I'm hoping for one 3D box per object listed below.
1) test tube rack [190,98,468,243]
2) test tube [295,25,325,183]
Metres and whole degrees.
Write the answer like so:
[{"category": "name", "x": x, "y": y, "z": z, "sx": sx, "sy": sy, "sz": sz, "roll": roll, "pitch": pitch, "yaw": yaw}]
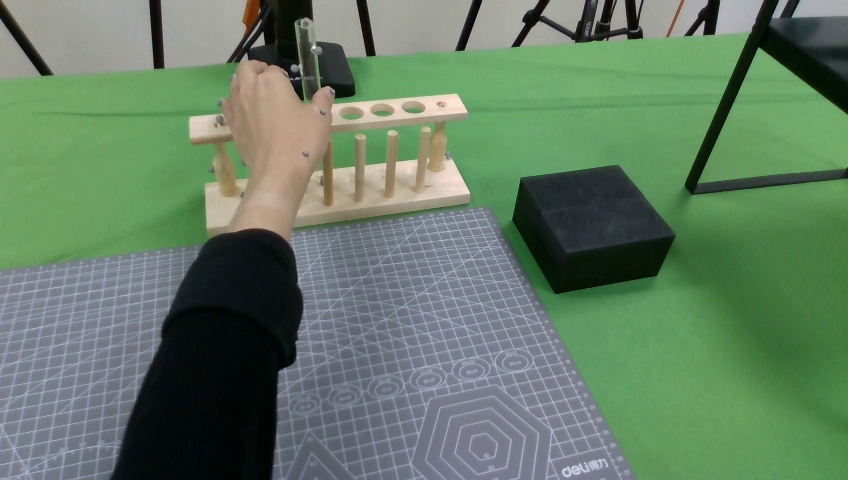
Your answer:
[{"category": "test tube rack", "x": -0.080, "y": -0.067, "z": 0.558, "sx": 0.243, "sy": 0.086, "sz": 0.066, "roll": -9, "pitch": 44, "yaw": -14}, {"category": "test tube", "x": -0.098, "y": -0.113, "z": 0.533, "sx": 0.017, "sy": 0.151, "sz": 0.017, "roll": 1, "pitch": 41, "yaw": -1}]
